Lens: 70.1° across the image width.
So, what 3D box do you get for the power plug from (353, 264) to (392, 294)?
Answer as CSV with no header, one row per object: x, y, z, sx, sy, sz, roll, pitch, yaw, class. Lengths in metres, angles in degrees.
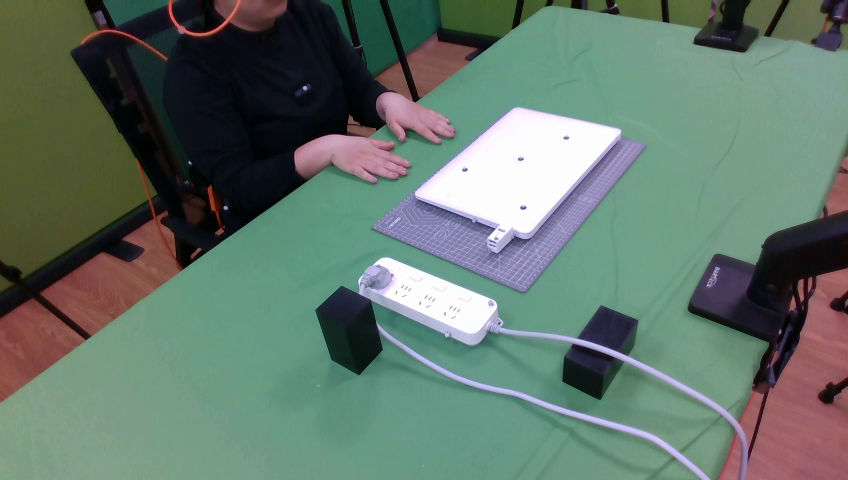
-0.078,0.063,0.867,0.073,0.053,0.035,-37,48,-27,power plug

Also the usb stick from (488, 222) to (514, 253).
0.124,-0.008,0.944,0.021,0.027,0.059,25,47,31,usb stick

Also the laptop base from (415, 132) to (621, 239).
0.178,-0.134,1.101,0.233,0.023,0.355,20,47,33,laptop base

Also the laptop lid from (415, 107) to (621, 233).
0.175,-0.144,1.094,0.239,0.013,0.358,23,49,33,laptop lid

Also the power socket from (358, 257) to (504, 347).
0.003,0.084,0.862,0.225,0.033,0.072,21,50,29,power socket
